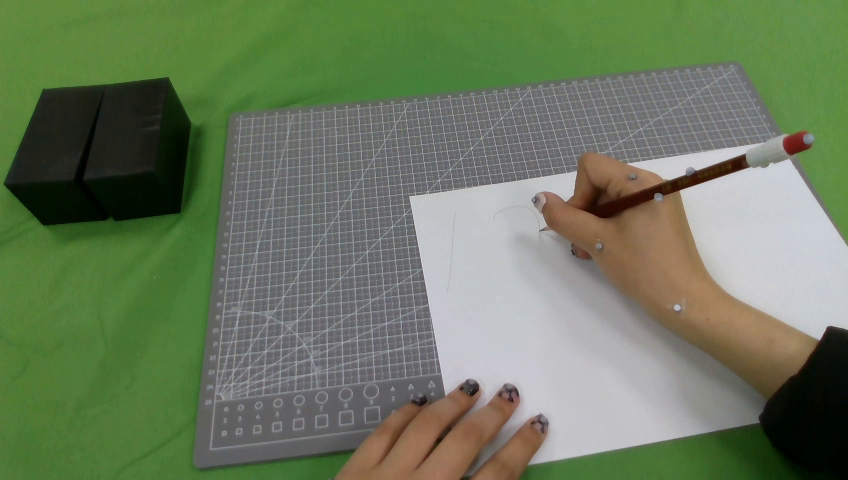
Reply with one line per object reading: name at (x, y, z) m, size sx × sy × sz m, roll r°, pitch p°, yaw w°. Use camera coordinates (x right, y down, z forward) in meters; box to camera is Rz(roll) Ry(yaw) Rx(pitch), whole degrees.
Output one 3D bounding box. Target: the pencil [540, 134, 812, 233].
pencil at (0.131, -0.025, 0.360) m, size 0.012 × 0.193 × 0.012 m, roll 7°, pitch 75°, yaw -28°
